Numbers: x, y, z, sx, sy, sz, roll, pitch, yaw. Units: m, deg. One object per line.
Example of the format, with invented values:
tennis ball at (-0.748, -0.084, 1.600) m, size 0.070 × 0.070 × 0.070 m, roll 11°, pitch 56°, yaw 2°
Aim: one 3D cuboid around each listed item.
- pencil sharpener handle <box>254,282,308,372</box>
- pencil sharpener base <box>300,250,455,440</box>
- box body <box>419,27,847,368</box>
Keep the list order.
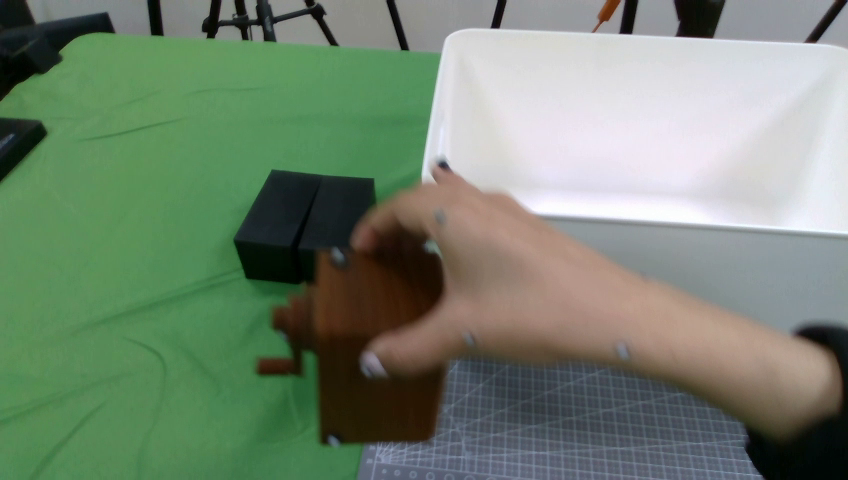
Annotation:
pencil sharpener handle at (-0.079, 0.051, 0.330) m, size 0.031 × 0.068 × 0.035 m, roll 1°, pitch 45°, yaw -9°
pencil sharpener base at (-0.030, 0.062, 0.346) m, size 0.077 × 0.108 × 0.060 m, roll 1°, pitch 42°, yaw -9°
box body at (0.188, -0.042, 0.510) m, size 0.364 × 0.162 × 0.252 m, roll 4°, pitch 45°, yaw 4°
